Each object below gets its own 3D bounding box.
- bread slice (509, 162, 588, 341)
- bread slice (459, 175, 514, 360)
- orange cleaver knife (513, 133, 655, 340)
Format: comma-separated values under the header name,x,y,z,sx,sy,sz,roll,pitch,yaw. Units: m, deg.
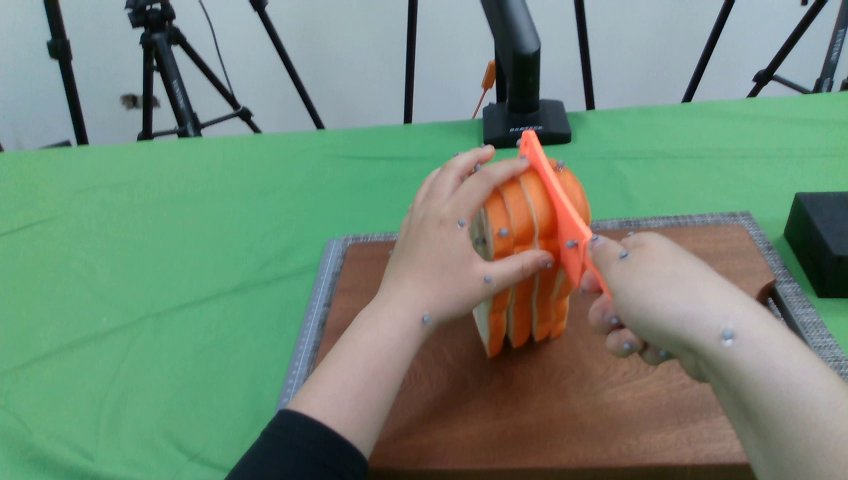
name,x,y,z,sx,sy,sz,roll,pitch,yaw
bread slice,0.100,0.004,0.506,0.019,0.132,0.103,-6,38,-16
bread slice,0.050,0.014,0.500,0.018,0.135,0.106,-11,34,-8
orange cleaver knife,0.103,0.000,0.433,0.012,0.078,0.209,-13,43,-7
